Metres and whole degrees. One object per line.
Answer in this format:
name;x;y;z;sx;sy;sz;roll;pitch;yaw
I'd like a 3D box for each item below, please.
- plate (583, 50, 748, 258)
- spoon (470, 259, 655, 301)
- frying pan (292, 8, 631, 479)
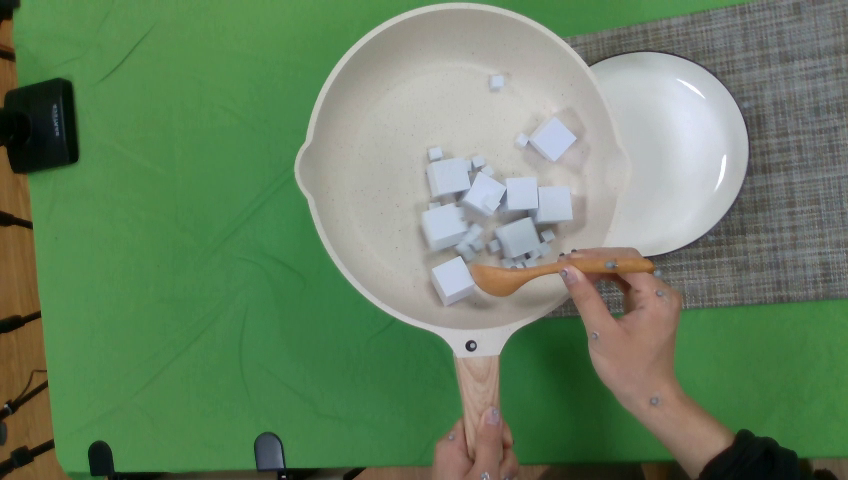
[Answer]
plate;0.214;-0.086;0.620;0.207;0.039;0.207;0;91;17
spoon;0.101;0.028;0.491;0.042;0.021;0.193;50;145;-17
frying pan;0.042;0.045;0.544;0.308;0.103;0.486;-1;82;-11
